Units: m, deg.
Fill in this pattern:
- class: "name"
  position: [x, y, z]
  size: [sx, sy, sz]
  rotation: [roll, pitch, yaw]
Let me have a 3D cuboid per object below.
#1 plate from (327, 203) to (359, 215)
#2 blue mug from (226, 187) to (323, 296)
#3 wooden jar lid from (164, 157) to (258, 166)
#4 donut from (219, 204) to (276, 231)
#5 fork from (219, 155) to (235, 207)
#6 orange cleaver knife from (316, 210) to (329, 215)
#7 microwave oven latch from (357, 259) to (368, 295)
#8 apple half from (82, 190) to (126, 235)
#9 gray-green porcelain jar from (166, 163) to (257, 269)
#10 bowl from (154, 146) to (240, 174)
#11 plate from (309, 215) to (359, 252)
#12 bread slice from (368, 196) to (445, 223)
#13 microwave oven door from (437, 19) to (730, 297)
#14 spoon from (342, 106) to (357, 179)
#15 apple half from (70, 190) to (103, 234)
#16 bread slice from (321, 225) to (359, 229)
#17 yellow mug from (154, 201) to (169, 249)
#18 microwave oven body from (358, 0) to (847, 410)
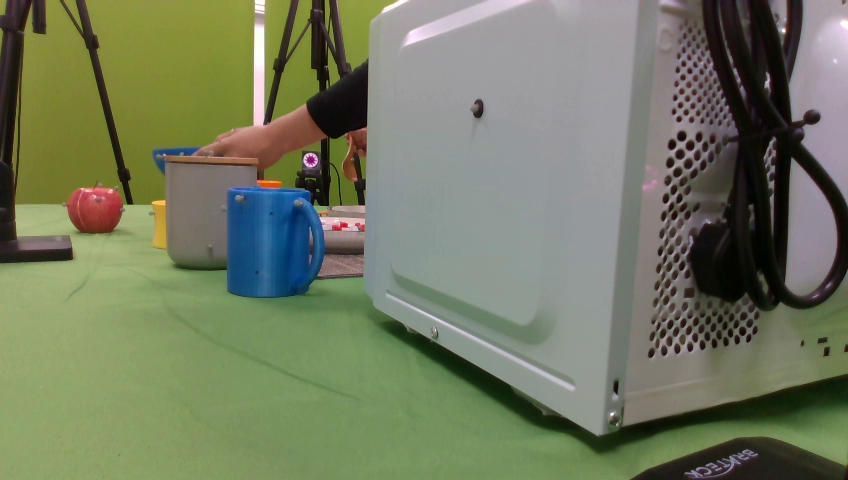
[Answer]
- class: "plate"
  position: [-0.102, -0.053, 1.299]
  size: [0.209, 0.038, 0.209]
  rotation: [2, 8, 0]
- class: "blue mug"
  position: [-0.148, 0.000, 0.618]
  size: [0.116, 0.106, 0.083]
  rotation: [7, 9, 33]
- class: "wooden jar lid"
  position: [-0.261, -0.093, 0.746]
  size: [0.108, 0.020, 0.108]
  rotation: [1, 9, 0]
- class: "donut"
  position: [-0.316, -0.039, 1.083]
  size: [0.099, 0.048, 0.099]
  rotation: [3, 7, 0]
- class: "fork"
  position: [-0.459, -0.134, 1.415]
  size: [0.028, 0.018, 0.207]
  rotation: [-1, -34, -25]
- class: "orange cleaver knife"
  position: [-0.259, -0.064, 1.423]
  size: [0.212, 0.012, 0.077]
  rotation: [-4, 3, -30]
- class: "microwave oven latch"
  position: [-0.019, 0.031, 0.529]
  size: [0.079, 0.029, 0.030]
  rotation: [-1, 7, -26]
- class: "apple half"
  position: [-0.516, -0.046, 0.994]
  size: [0.032, 0.081, 0.081]
  rotation: [0, 6, 26]
- class: "gray-green porcelain jar"
  position: [-0.263, -0.031, 0.754]
  size: [0.106, 0.126, 0.106]
  rotation: [2, 7, 0]
- class: "bowl"
  position: [-0.418, -0.132, 1.129]
  size: [0.151, 0.077, 0.151]
  rotation: [-3, 8, 1]
- class: "plate"
  position: [-0.130, -0.011, 0.945]
  size: [0.208, 0.039, 0.207]
  rotation: [2, 8, 0]
- class: "bread slice"
  position: [-0.040, -0.057, 1.142]
  size: [0.107, 0.018, 0.133]
  rotation: [-8, -8, -40]
- class: "microwave oven door"
  position: [0.180, -0.076, 0.618]
  size: [0.358, 0.243, 0.039]
  rotation: [-2, 9, -28]
- class: "spoon"
  position: [-0.156, -0.208, 1.277]
  size: [0.021, 0.193, 0.042]
  rotation: [-24, -34, 36]
- class: "apple half"
  position: [-0.552, -0.047, 1.010]
  size: [0.053, 0.074, 0.081]
  rotation: [0, 9, 26]
- class: "bread slice"
  position: [-0.125, -0.009, 0.938]
  size: [0.131, 0.019, 0.105]
  rotation: [5, 8, 32]
- class: "yellow mug"
  position: [-0.337, -0.022, 0.899]
  size: [0.130, 0.064, 0.100]
  rotation: [8, 10, 35]
- class: "microwave oven body"
  position: [0.210, -0.051, 0.471]
  size: [0.444, 0.260, 0.324]
  rotation: [-1, 7, -28]
